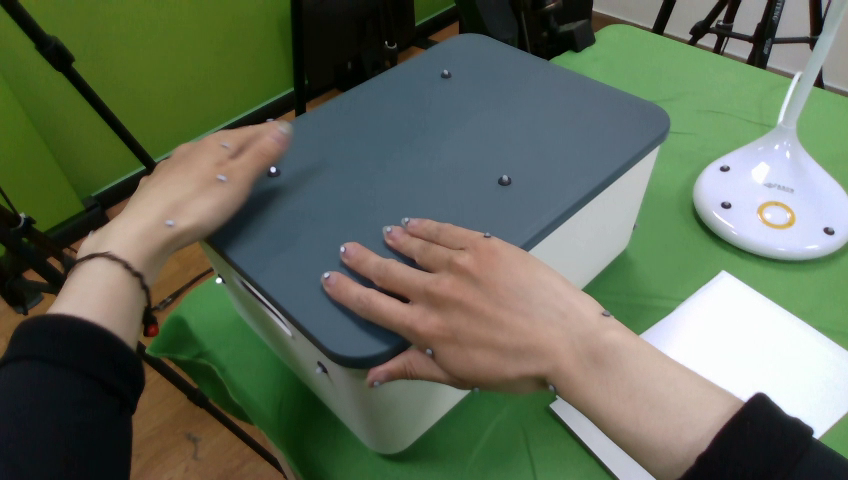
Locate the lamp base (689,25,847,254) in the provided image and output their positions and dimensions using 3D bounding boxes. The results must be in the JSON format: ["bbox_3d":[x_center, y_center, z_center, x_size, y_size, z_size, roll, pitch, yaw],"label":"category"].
[{"bbox_3d":[0.369,-0.108,0.607,0.160,0.182,0.178,8,44,12],"label":"lamp base"}]

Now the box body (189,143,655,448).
[{"bbox_3d":[0.007,-0.022,0.566,0.364,0.162,0.251,-36,53,-27],"label":"box body"}]

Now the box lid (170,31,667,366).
[{"bbox_3d":[0.000,-0.072,0.512,0.371,0.015,0.260,-36,53,-27],"label":"box lid"}]
